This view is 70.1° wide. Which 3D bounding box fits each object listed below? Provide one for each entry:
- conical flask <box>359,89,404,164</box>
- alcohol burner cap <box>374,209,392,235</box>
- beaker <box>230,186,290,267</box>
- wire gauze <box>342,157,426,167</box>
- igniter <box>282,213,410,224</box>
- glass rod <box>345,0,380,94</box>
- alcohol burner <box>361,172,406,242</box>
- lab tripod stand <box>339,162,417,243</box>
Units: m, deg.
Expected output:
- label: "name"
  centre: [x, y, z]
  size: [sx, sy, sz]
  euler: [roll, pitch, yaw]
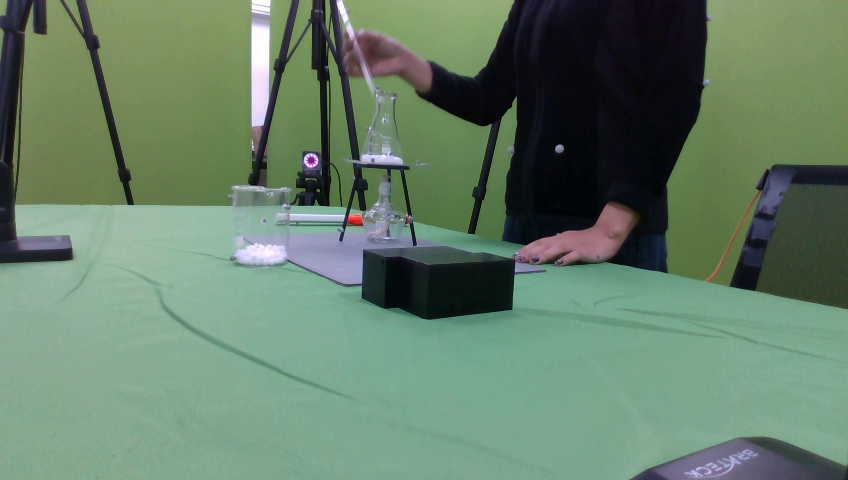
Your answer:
- label: "conical flask"
  centre: [-0.068, -0.189, 1.011]
  size: [0.075, 0.122, 0.075]
  euler: [4, 6, 0]
- label: "alcohol burner cap"
  centre: [-0.078, -0.036, 1.148]
  size: [0.034, 0.048, 0.034]
  euler: [3, 8, 0]
- label: "beaker"
  centre: [-0.209, -0.019, 0.778]
  size: [0.074, 0.100, 0.084]
  euler: [3, 6, 4]
- label: "wire gauze"
  centre: [-0.065, -0.130, 1.017]
  size: [0.122, 0.011, 0.124]
  euler: [1, 5, -27]
- label: "igniter"
  centre: [-0.159, -0.046, 1.287]
  size: [0.278, 0.025, 0.057]
  euler: [-1, -2, -21]
- label: "glass rod"
  centre: [-0.110, -0.350, 1.072]
  size: [0.008, 0.199, 0.008]
  euler: [-19, -5, -2]
- label: "alcohol burner"
  centre: [-0.067, -0.056, 1.030]
  size: [0.078, 0.119, 0.078]
  euler: [3, 9, 0]
- label: "lab tripod stand"
  centre: [-0.067, -0.065, 1.027]
  size: [0.148, 0.131, 0.148]
  euler: [4, 7, 0]
